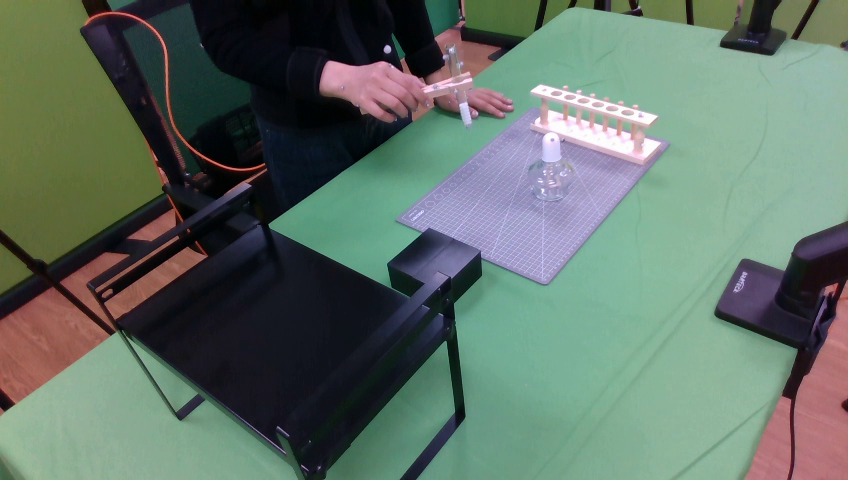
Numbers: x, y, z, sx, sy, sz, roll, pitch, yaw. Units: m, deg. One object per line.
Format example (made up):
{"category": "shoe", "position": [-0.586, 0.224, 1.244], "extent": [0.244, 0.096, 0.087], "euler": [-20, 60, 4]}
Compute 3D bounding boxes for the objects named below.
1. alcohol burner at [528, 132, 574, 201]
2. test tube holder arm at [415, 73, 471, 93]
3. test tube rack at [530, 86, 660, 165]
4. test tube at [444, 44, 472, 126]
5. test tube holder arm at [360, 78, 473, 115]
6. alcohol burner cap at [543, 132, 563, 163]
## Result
{"category": "alcohol burner", "position": [0.214, -0.126, 1.016], "extent": [0.078, 0.119, 0.077], "euler": [-5, 38, 5]}
{"category": "test tube holder arm", "position": [0.030, -0.236, 0.928], "extent": [0.088, 0.015, 0.010], "euler": [-19, 48, 1]}
{"category": "test tube rack", "position": [0.320, -0.226, 1.140], "extent": [0.240, 0.085, 0.067], "euler": [27, 51, 34]}
{"category": "test tube", "position": [0.054, -0.234, 0.929], "extent": [0.017, 0.151, 0.017], "euler": [-8, 50, 11]}
{"category": "test tube holder arm", "position": [-0.013, -0.220, 0.928], "extent": [0.178, 0.015, 0.013], "euler": [-13, 48, 7]}
{"category": "alcohol burner cap", "position": [0.211, -0.154, 0.994], "extent": [0.034, 0.048, 0.033], "euler": [-7, 35, 6]}
